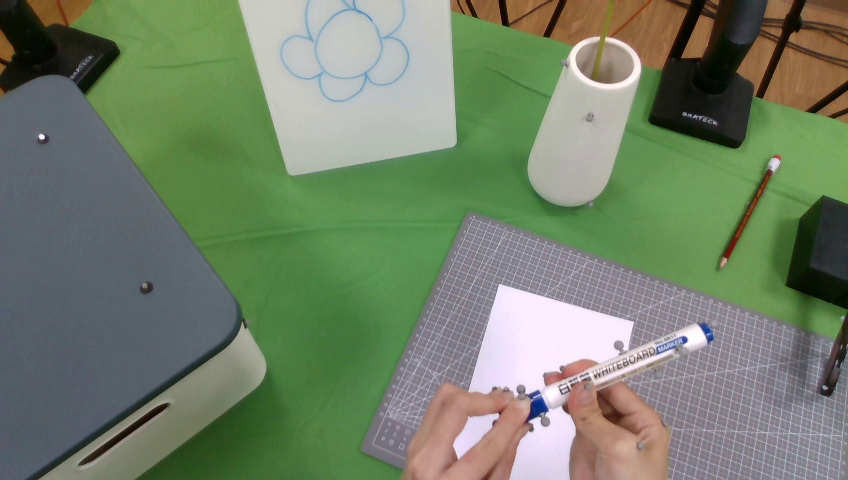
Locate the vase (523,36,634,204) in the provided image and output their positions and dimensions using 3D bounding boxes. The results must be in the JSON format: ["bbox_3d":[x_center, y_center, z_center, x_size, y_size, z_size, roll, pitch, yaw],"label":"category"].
[{"bbox_3d":[0.167,-0.125,0.666,0.098,0.201,0.097,0,60,1],"label":"vase"}]

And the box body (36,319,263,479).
[{"bbox_3d":[-0.357,0.055,0.585,0.254,0.161,0.361,-37,68,-18],"label":"box body"}]

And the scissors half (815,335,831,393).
[{"bbox_3d":[0.437,0.075,0.629,0.012,0.040,0.175,18,81,35],"label":"scissors half"}]

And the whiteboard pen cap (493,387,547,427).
[{"bbox_3d":[0.064,0.111,0.403,0.033,0.018,0.018,-23,63,1],"label":"whiteboard pen cap"}]

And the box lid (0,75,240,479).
[{"bbox_3d":[-0.358,0.018,0.520,0.263,0.015,0.368,-37,68,-19],"label":"box lid"}]

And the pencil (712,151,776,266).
[{"bbox_3d":[0.385,-0.040,0.729,0.012,0.012,0.193,31,67,16],"label":"pencil"}]

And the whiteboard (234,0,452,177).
[{"bbox_3d":[-0.093,-0.256,0.708,0.217,0.308,0.142,-11,43,-6],"label":"whiteboard"}]

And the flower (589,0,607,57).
[{"bbox_3d":[0.166,-0.178,0.600,0.044,0.365,0.038,13,45,11],"label":"flower"}]

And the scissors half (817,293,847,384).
[{"bbox_3d":[0.429,0.066,0.612,0.012,0.040,0.174,19,64,30],"label":"scissors half"}]

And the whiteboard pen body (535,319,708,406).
[{"bbox_3d":[0.119,0.085,0.399,0.141,0.017,0.017,-24,63,4],"label":"whiteboard pen body"}]
